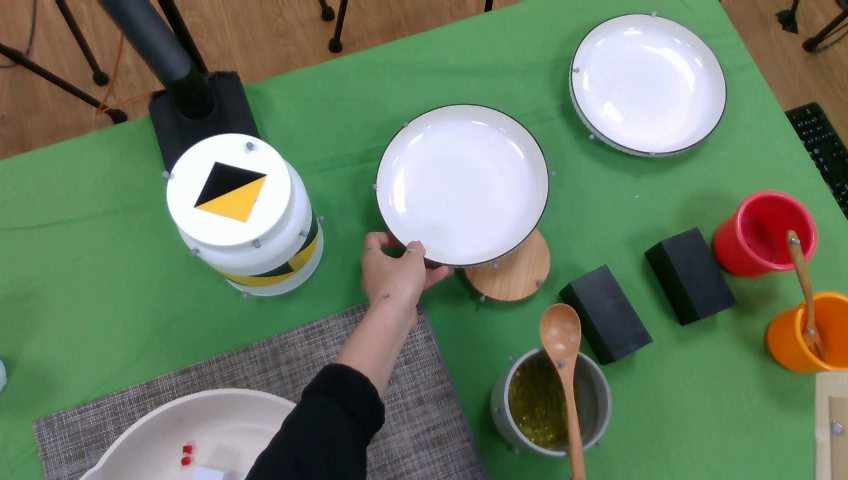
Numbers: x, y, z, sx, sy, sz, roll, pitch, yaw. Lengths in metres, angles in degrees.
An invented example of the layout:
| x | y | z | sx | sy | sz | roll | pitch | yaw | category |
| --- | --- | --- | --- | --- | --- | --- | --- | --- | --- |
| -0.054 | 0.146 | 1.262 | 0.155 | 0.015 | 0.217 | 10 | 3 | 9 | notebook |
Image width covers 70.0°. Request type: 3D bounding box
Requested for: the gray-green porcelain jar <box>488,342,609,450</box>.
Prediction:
| x | y | z | sx | sy | sz | roll | pitch | yaw | category |
| --- | --- | --- | --- | --- | --- | --- | --- | --- | --- |
| 0.125 | 0.167 | 0.644 | 0.106 | 0.127 | 0.105 | 1 | 73 | -2 | gray-green porcelain jar |

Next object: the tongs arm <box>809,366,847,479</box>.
| x | y | z | sx | sy | sz | roll | pitch | yaw | category |
| --- | --- | --- | --- | --- | --- | --- | --- | --- | --- |
| 0.307 | 0.274 | 0.454 | 0.027 | 0.028 | 0.389 | -7 | 103 | 12 | tongs arm |

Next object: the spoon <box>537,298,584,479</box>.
| x | y | z | sx | sy | sz | roll | pitch | yaw | category |
| --- | --- | --- | --- | --- | --- | --- | --- | --- | --- |
| 0.136 | 0.153 | 0.576 | 0.042 | 0.022 | 0.193 | -2 | 77 | -9 | spoon |

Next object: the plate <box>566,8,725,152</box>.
| x | y | z | sx | sy | sz | roll | pitch | yaw | category |
| --- | --- | --- | --- | --- | --- | --- | --- | --- | --- |
| 0.290 | -0.209 | 0.805 | 0.209 | 0.038 | 0.208 | 1 | 74 | -2 | plate |

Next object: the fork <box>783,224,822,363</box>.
| x | y | z | sx | sy | sz | roll | pitch | yaw | category |
| --- | --- | --- | --- | --- | --- | --- | --- | --- | --- |
| 0.422 | 0.063 | 0.675 | 0.028 | 0.018 | 0.209 | -32 | 122 | -3 | fork |

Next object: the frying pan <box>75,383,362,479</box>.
| x | y | z | sx | sy | sz | roll | pitch | yaw | category |
| --- | --- | --- | --- | --- | --- | --- | --- | --- | --- |
| -0.235 | 0.383 | 0.573 | 0.306 | 0.103 | 0.485 | 20 | 66 | 4 | frying pan |

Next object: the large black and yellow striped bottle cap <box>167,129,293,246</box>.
| x | y | z | sx | sy | sz | roll | pitch | yaw | category |
| --- | --- | --- | --- | --- | --- | --- | --- | --- | --- |
| -0.184 | -0.051 | 0.575 | 0.115 | 0.019 | 0.114 | 1 | 75 | -3 | large black and yellow striped bottle cap |

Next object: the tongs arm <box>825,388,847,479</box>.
| x | y | z | sx | sy | sz | roll | pitch | yaw | category |
| --- | --- | --- | --- | --- | --- | --- | --- | --- | --- |
| 0.301 | 0.279 | 0.433 | 0.026 | 0.051 | 0.385 | -6 | 99 | 16 | tongs arm |

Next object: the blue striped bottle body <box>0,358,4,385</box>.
| x | y | z | sx | sy | sz | roll | pitch | yaw | category |
| --- | --- | --- | --- | --- | --- | --- | --- | --- | --- |
| -0.502 | 0.136 | 0.626 | 0.063 | 0.121 | 0.062 | 1 | 73 | -2 | blue striped bottle body |

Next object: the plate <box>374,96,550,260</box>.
| x | y | z | sx | sy | sz | roll | pitch | yaw | category |
| --- | --- | --- | --- | --- | --- | --- | --- | --- | --- |
| 0.045 | -0.073 | 0.730 | 0.207 | 0.039 | 0.206 | -1 | 74 | 5 | plate |

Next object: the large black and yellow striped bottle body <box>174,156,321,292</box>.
| x | y | z | sx | sy | sz | roll | pitch | yaw | category |
| --- | --- | --- | --- | --- | --- | --- | --- | --- | --- |
| -0.187 | -0.025 | 0.655 | 0.131 | 0.185 | 0.130 | 1 | 73 | -2 | large black and yellow striped bottle body |
